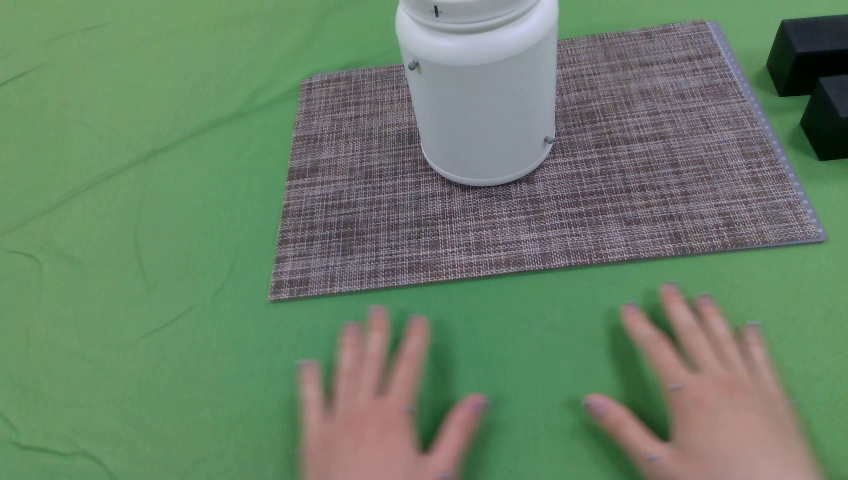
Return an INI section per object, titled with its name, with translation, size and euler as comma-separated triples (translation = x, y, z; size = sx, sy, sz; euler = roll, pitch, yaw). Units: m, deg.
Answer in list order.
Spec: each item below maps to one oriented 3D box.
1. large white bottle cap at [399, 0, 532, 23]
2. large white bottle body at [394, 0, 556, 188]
[large white bottle cap]
translation = 0.034, -0.202, 0.453
size = 0.115, 0.018, 0.113
euler = -4, 52, 6
[large white bottle body]
translation = 0.047, -0.150, 0.520
size = 0.130, 0.186, 0.129
euler = -5, 53, 7
